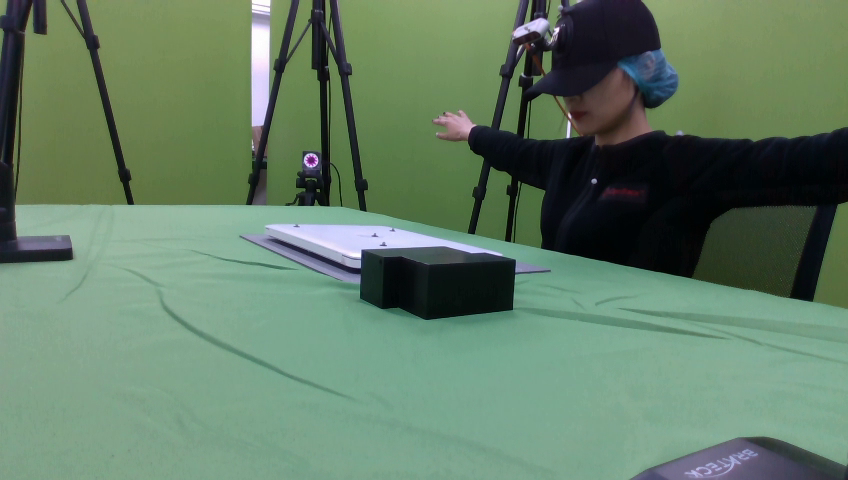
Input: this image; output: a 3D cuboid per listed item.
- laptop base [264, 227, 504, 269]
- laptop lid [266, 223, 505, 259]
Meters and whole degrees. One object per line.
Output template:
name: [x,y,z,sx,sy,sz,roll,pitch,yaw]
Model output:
laptop base: [-0.077,0.009,0.914,0.237,0.023,0.352,2,6,-33]
laptop lid: [-0.074,-0.003,0.914,0.243,0.013,0.355,1,7,-31]
